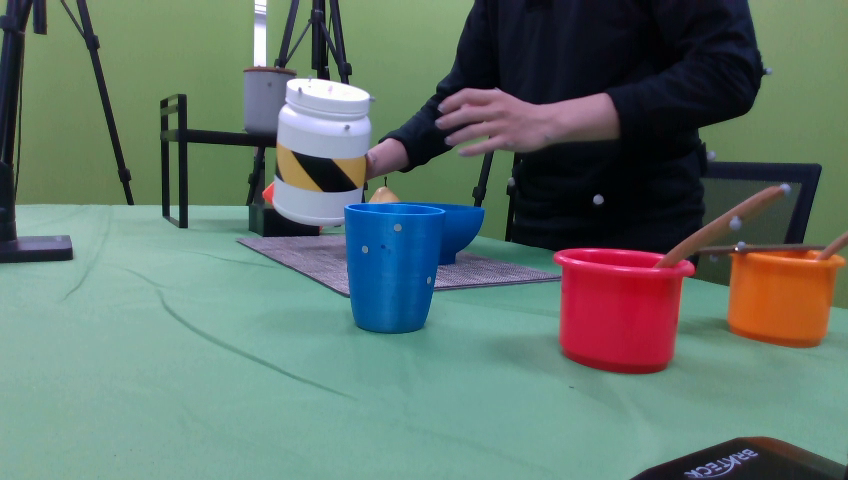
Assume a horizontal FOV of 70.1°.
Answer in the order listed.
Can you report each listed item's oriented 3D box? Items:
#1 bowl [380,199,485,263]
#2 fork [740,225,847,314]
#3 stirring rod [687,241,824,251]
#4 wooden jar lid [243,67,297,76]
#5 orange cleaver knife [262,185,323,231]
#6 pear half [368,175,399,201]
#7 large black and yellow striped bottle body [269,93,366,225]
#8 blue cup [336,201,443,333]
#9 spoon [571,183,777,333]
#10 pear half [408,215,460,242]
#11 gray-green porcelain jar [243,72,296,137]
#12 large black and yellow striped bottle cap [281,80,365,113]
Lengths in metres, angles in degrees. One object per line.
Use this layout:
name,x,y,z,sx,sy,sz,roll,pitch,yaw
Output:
bowl,0.008,-0.012,0.842,0.151,0.077,0.151,3,8,0
fork,0.323,0.013,0.485,0.028,0.018,0.207,8,-38,-6
stirring rod,0.289,0.005,0.525,0.177,0.006,0.014,-1,5,-26
wooden jar lid,-0.319,-0.342,1.254,0.108,0.020,0.108,3,8,0
orange cleaver knife,-0.201,-0.057,1.136,0.212,0.077,0.012,31,-4,-31
pear half,-0.064,-0.061,1.077,0.055,0.110,0.077,8,13,40
large black and yellow striped bottle body,-0.154,-0.127,0.882,0.131,0.184,0.130,9,24,-3
blue cup,-0.029,0.021,0.507,0.093,0.100,0.092,3,9,0
spoon,0.161,0.020,0.413,0.042,0.021,0.193,1,-36,-24
pear half,0.011,-0.019,0.848,0.070,0.031,0.088,4,11,33
gray-green porcelain jar,-0.322,-0.279,1.263,0.106,0.126,0.106,3,8,0
large black and yellow striped bottle cap,-0.141,-0.203,0.849,0.115,0.019,0.115,10,24,-4
